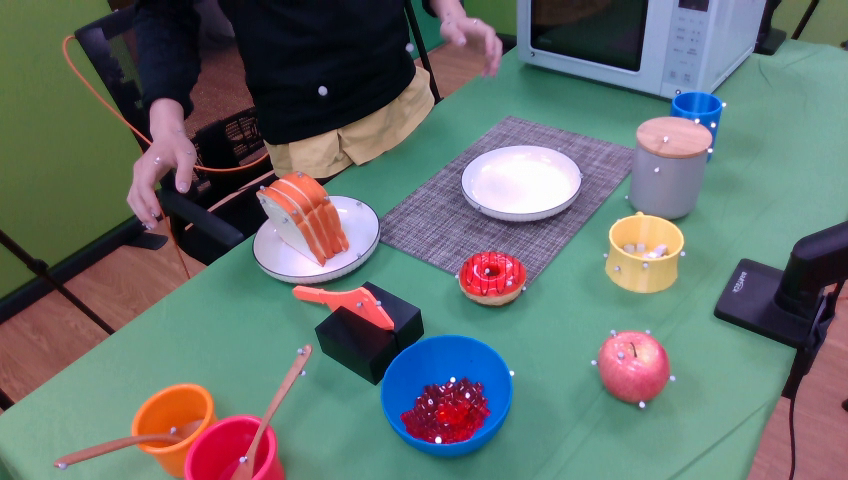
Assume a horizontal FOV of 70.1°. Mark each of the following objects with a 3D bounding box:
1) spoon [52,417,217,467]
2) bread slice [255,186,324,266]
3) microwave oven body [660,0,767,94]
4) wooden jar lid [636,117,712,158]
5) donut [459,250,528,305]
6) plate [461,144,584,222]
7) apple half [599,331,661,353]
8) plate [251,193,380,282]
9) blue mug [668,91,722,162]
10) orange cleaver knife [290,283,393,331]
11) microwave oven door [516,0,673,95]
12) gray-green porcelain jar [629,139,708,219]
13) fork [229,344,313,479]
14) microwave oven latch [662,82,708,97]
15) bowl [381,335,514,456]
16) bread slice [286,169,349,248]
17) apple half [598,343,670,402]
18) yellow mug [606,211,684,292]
[{"bbox_3d":[-0.308,0.219,0.663,0.041,0.195,0.021,24,94,29],"label":"spoon"},{"bbox_3d":[-0.212,-0.026,0.936,0.106,0.135,0.018,27,61,35],"label":"bread slice"},{"bbox_3d":[0.473,-0.516,1.313,0.438,0.261,0.327,26,51,34],"label":"microwave oven body"},{"bbox_3d":[0.377,-0.151,0.917,0.108,0.021,0.108,-2,42,2],"label":"wooden jar lid"},{"bbox_3d":[0.100,0.053,0.872,0.099,0.048,0.098,-5,41,5],"label":"donut"},{"bbox_3d":[0.168,-0.095,1.040,0.207,0.039,0.206,-4,41,4],"label":"plate"},{"bbox_3d":[0.249,0.134,0.738,0.081,0.081,0.032,-1,46,7],"label":"apple half"},{"bbox_3d":[-0.173,-0.001,0.984,0.209,0.038,0.208,-4,41,4],"label":"plate"},{"bbox_3d":[0.474,-0.207,1.078,0.082,0.106,0.116,4,42,13],"label":"blue mug"},{"bbox_3d":[-0.118,0.091,0.835,0.209,0.077,0.012,1,35,48],"label":"orange cleaver knife"},{"bbox_3d":[0.344,-0.458,1.257,0.353,0.245,0.039,26,51,33],"label":"microwave oven door"},{"bbox_3d":[0.383,-0.105,0.958,0.106,0.127,0.105,-4,41,4],"label":"gray-green porcelain jar"},{"bbox_3d":[-0.173,0.205,0.662,0.028,0.019,0.207,29,94,36],"label":"fork"},{"bbox_3d":[0.517,-0.298,1.202,0.078,0.029,0.030,27,52,34],"label":"microwave oven latch"},{"bbox_3d":[0.029,0.192,0.701,0.151,0.077,0.150,-4,40,4],"label":"bowl"},{"bbox_3d":[-0.170,-0.053,0.960,0.104,0.132,0.019,30,61,36],"label":"bread slice"},{"bbox_3d":[0.247,0.161,0.710,0.081,0.075,0.053,2,47,5],"label":"apple half"},{"bbox_3d":[0.318,0.008,0.883,0.100,0.064,0.130,0,41,9],"label":"yellow mug"}]
